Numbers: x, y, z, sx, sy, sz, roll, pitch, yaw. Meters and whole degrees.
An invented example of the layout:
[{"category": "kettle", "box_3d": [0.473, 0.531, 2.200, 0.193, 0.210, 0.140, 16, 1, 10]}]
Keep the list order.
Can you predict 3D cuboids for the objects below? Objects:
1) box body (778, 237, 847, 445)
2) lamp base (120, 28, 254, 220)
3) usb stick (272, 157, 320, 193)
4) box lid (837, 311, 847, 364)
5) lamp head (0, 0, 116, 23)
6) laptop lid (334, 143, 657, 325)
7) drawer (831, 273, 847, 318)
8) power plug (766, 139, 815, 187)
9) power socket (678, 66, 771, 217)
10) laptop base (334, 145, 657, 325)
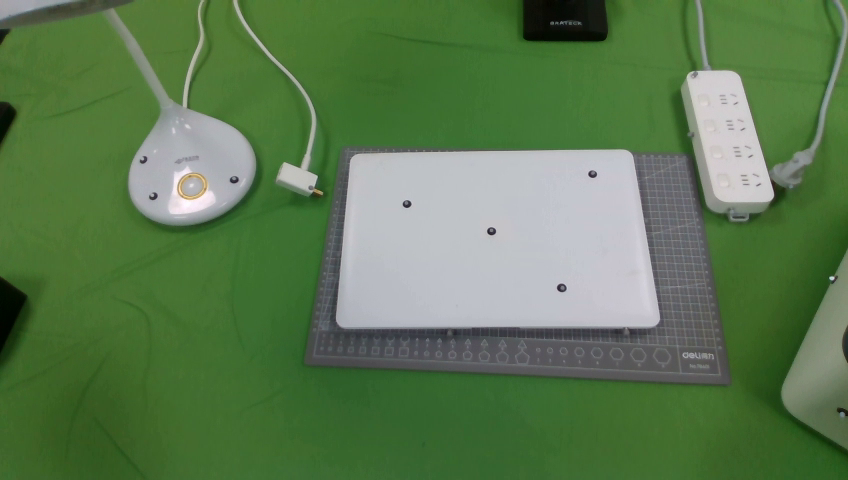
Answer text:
[{"category": "box body", "box_3d": [0.542, 0.063, 0.573, 0.252, 0.162, 0.363, 32, 68, 18]}, {"category": "lamp base", "box_3d": [-0.308, -0.142, 0.713, 0.161, 0.182, 0.177, -24, 60, -10]}, {"category": "usb stick", "box_3d": [-0.155, -0.078, 0.750, 0.059, 0.021, 0.027, 26, 66, -21]}, {"category": "box lid", "box_3d": [0.539, 0.026, 0.509, 0.261, 0.015, 0.370, 32, 68, 19]}, {"category": "lamp head", "box_3d": [-0.288, -0.230, 0.444, 0.112, 0.123, 0.112, -14, 16, 4]}, {"category": "laptop lid", "box_3d": [0.077, -0.014, 0.704, 0.356, 0.013, 0.239, 1, 64, 3]}, {"category": "drawer", "box_3d": [0.567, 0.029, 0.618, 0.193, 0.074, 0.211, 31, 73, 21]}, {"category": "power plug", "box_3d": [0.445, -0.088, 0.730, 0.073, 0.053, 0.035, -14, 56, -24]}, {"category": "power socket", "box_3d": [0.373, -0.133, 0.762, 0.072, 0.033, 0.225, 1, 61, 2]}, {"category": "laptop base", "box_3d": [0.078, -0.010, 0.716, 0.354, 0.023, 0.233, -1, 65, 2]}]
